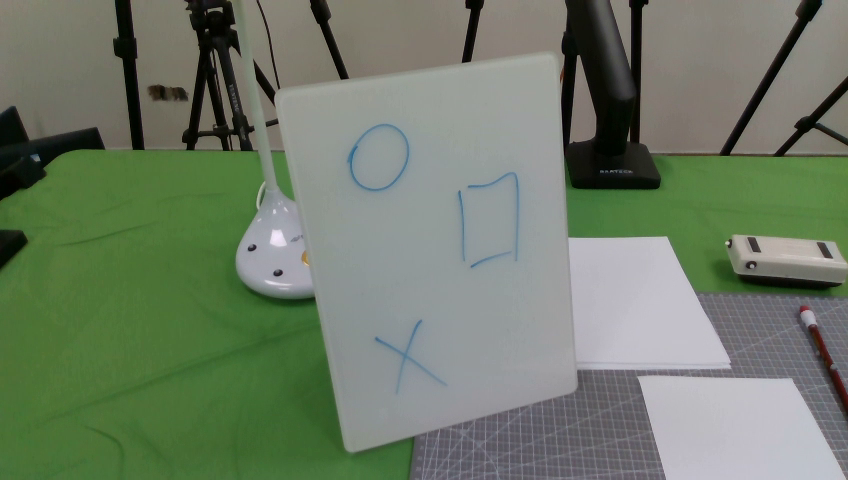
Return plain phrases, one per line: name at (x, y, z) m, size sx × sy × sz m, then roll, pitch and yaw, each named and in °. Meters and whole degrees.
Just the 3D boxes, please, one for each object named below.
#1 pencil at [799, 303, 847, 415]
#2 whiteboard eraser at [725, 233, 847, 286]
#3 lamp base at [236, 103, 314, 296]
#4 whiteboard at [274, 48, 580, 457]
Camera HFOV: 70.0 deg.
pencil at (0.378, 0.127, 0.556) m, size 0.012 × 0.012 × 0.192 m, roll 4°, pitch 39°, yaw 9°
whiteboard eraser at (0.400, 0.022, 0.674) m, size 0.112 × 0.042 × 0.055 m, roll 5°, pitch 38°, yaw 10°
lamp base at (-0.155, -0.055, 0.688) m, size 0.161 × 0.182 × 0.177 m, roll -30°, pitch 42°, yaw -32°
whiteboard at (0.004, 0.000, 0.549) m, size 0.217 × 0.307 × 0.142 m, roll -11°, pitch 18°, yaw -11°
